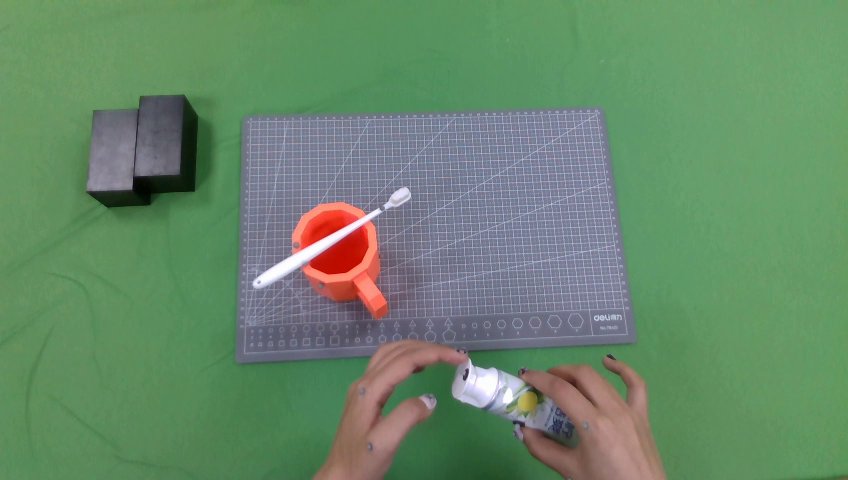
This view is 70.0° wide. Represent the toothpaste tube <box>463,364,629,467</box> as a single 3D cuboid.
[{"bbox_3d":[0.103,0.147,0.524,0.166,0.034,0.055,24,88,-14],"label":"toothpaste tube"}]

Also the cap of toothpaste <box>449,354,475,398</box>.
[{"bbox_3d":[0.033,0.113,0.503,0.011,0.037,0.037,19,73,-11],"label":"cap of toothpaste"}]

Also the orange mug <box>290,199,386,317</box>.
[{"bbox_3d":[-0.083,0.025,0.650,0.083,0.101,0.125,-36,74,-12],"label":"orange mug"}]

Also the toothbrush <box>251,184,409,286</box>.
[{"bbox_3d":[-0.092,-0.006,0.604,0.182,0.017,0.014,-32,83,-11],"label":"toothbrush"}]
